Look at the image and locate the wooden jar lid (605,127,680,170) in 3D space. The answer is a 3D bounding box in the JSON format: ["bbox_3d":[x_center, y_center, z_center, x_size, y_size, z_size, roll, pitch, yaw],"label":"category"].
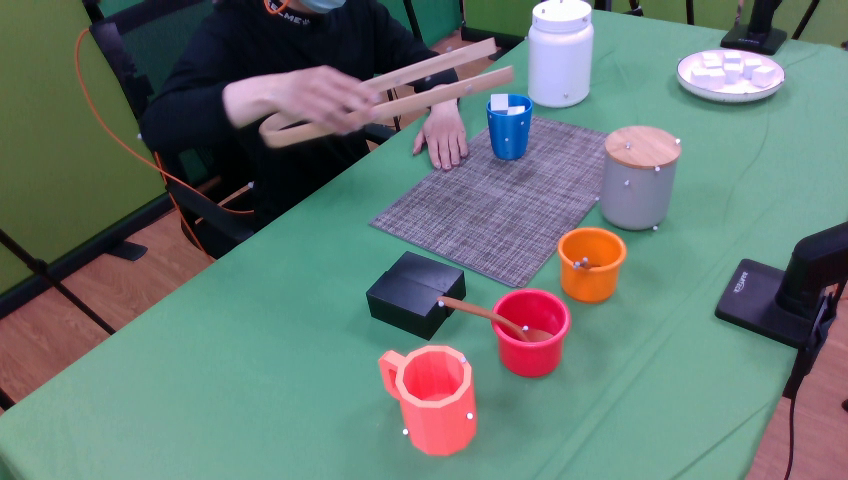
[{"bbox_3d":[0.327,-0.134,0.909,0.108,0.021,0.108,-2,43,2],"label":"wooden jar lid"}]

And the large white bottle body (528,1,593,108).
[{"bbox_3d":[0.283,-0.386,1.259,0.130,0.185,0.130,-5,41,4],"label":"large white bottle body"}]

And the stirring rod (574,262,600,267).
[{"bbox_3d":[0.221,0.033,0.817,0.014,0.006,0.177,9,1,22],"label":"stirring rod"}]

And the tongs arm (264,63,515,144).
[{"bbox_3d":[-0.053,-0.204,0.906,0.387,0.028,0.028,-14,45,4],"label":"tongs arm"}]

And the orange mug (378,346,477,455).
[{"bbox_3d":[0.002,0.179,0.709,0.125,0.101,0.083,25,50,27],"label":"orange mug"}]

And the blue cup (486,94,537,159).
[{"bbox_3d":[0.160,-0.208,1.129,0.092,0.100,0.092,-3,39,3],"label":"blue cup"}]

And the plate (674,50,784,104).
[{"bbox_3d":[0.631,-0.336,1.262,0.207,0.039,0.206,-4,41,4],"label":"plate"}]

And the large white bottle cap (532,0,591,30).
[{"bbox_3d":[0.274,-0.450,1.204,0.115,0.018,0.114,-4,41,4],"label":"large white bottle cap"}]

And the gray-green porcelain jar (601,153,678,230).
[{"bbox_3d":[0.334,-0.087,0.949,0.106,0.127,0.105,-4,40,4],"label":"gray-green porcelain jar"}]

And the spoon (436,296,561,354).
[{"bbox_3d":[0.095,0.102,0.750,0.195,0.021,0.041,28,31,-28],"label":"spoon"}]

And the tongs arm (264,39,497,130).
[{"bbox_3d":[-0.063,-0.238,0.949,0.385,0.027,0.050,-18,42,0],"label":"tongs arm"}]
